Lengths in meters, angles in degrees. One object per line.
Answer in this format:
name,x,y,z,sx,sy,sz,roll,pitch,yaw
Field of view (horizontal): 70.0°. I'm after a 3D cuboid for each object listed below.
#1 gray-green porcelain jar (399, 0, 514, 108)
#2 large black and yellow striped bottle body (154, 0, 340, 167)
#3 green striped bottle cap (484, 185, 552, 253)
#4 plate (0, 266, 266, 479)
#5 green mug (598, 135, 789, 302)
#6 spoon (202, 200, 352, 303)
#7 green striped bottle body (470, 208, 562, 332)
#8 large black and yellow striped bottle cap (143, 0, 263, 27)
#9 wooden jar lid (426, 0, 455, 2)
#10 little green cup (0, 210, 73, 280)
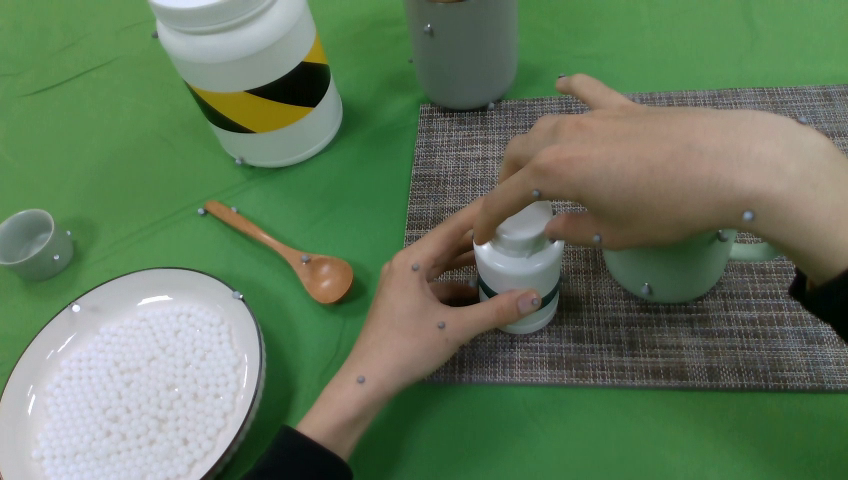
gray-green porcelain jar,0.034,-0.201,0.586,0.106,0.128,0.105,-4,53,5
large black and yellow striped bottle body,-0.162,-0.172,0.563,0.130,0.186,0.129,-4,57,6
green striped bottle cap,0.061,-0.014,0.396,0.044,0.020,0.044,-4,57,6
plate,-0.221,0.117,0.471,0.209,0.038,0.207,-4,56,6
green mug,0.198,-0.011,0.447,0.125,0.106,0.092,8,57,13
spoon,-0.137,0.002,0.543,0.192,0.022,0.041,29,85,24
green striped bottle body,0.067,0.015,0.440,0.063,0.120,0.062,-4,56,7
large black and yellow striped bottle cap,-0.174,-0.216,0.493,0.115,0.019,0.114,-3,55,5
wooden jar lid,0.026,-0.240,0.536,0.108,0.021,0.107,-6,55,9
little green cup,-0.364,0.007,0.564,0.061,0.039,0.061,-3,57,6
